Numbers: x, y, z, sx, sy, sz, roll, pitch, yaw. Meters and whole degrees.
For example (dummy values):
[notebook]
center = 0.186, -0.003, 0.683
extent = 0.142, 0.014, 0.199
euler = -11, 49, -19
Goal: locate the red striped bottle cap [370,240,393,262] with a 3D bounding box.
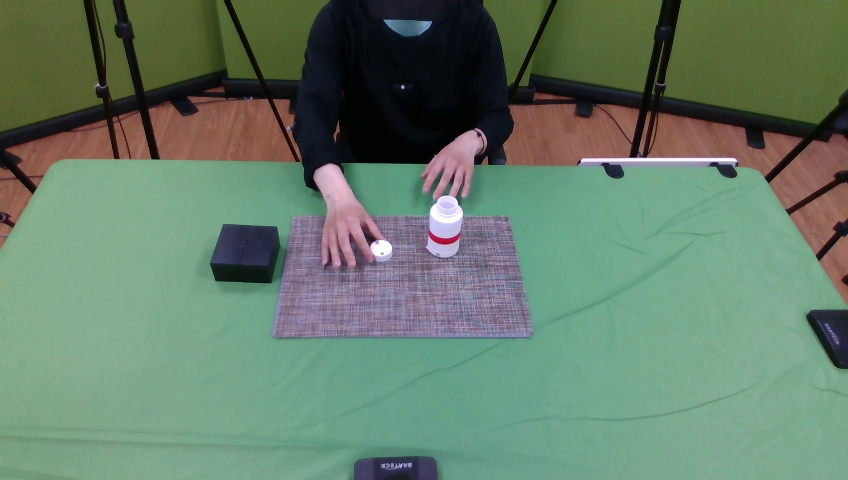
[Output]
[red striped bottle cap]
center = -0.082, 0.020, 1.168
extent = 0.044, 0.018, 0.044
euler = -2, 48, 2

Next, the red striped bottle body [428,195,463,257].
[red striped bottle body]
center = 0.041, -0.028, 1.152
extent = 0.063, 0.120, 0.062
euler = 2, 45, -2
